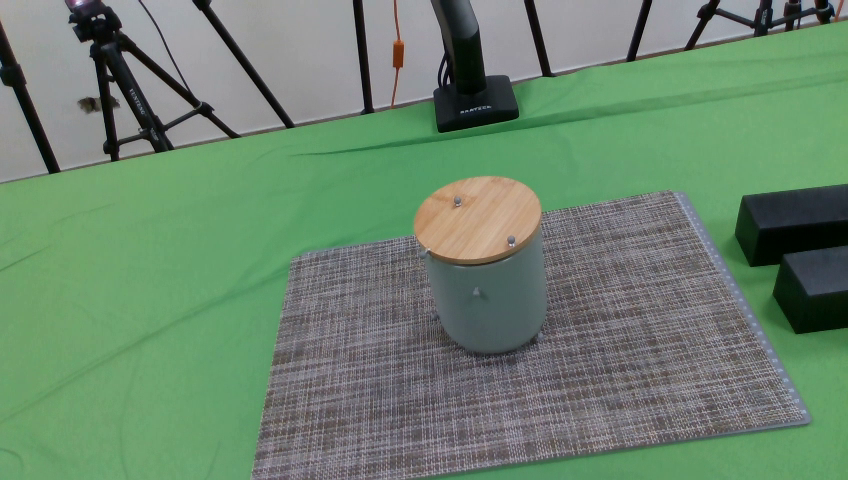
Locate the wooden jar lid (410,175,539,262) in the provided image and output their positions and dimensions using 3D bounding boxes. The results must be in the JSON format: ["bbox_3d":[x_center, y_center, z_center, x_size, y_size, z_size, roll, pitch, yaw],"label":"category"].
[{"bbox_3d":[0.043,-0.016,0.512,0.108,0.021,0.107,-8,43,8],"label":"wooden jar lid"}]

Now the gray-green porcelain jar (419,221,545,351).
[{"bbox_3d":[0.056,0.031,0.554,0.106,0.128,0.105,-8,41,7],"label":"gray-green porcelain jar"}]
